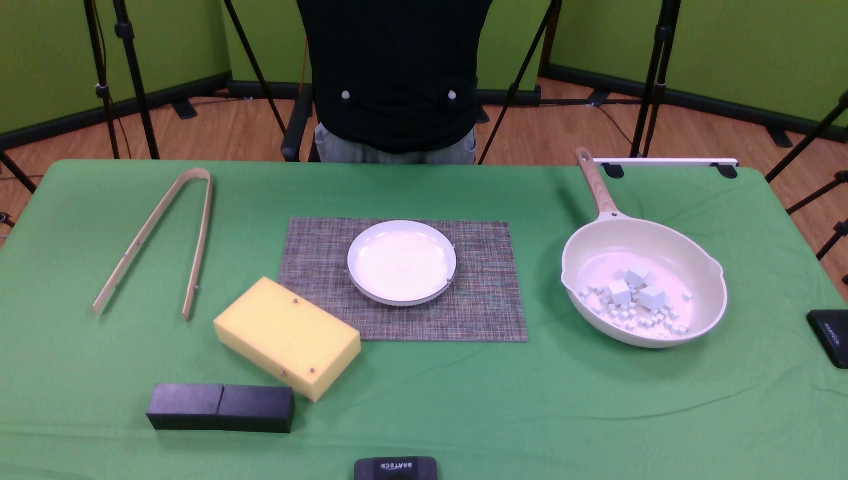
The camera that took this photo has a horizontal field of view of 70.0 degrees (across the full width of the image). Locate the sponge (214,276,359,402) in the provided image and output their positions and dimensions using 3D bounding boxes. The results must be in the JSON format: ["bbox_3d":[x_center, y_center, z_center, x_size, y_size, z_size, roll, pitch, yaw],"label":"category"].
[{"bbox_3d":[-0.224,0.158,0.998,0.206,0.061,0.118,27,52,18],"label":"sponge"}]

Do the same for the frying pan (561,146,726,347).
[{"bbox_3d":[0.378,-0.005,1.175,0.307,0.103,0.484,-4,55,-9],"label":"frying pan"}]

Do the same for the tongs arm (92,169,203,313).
[{"bbox_3d":[-0.517,-0.012,1.160,0.051,0.026,0.382,7,45,1],"label":"tongs arm"}]

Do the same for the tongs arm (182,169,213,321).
[{"bbox_3d":[-0.436,-0.005,1.166,0.028,0.028,0.385,-5,46,-6],"label":"tongs arm"}]

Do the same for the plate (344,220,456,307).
[{"bbox_3d":[-0.044,0.047,1.133,0.208,0.039,0.206,3,46,-2],"label":"plate"}]
